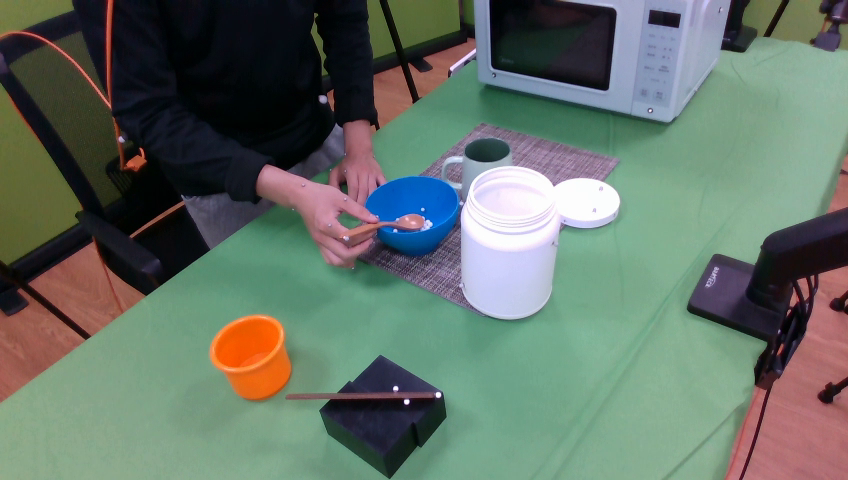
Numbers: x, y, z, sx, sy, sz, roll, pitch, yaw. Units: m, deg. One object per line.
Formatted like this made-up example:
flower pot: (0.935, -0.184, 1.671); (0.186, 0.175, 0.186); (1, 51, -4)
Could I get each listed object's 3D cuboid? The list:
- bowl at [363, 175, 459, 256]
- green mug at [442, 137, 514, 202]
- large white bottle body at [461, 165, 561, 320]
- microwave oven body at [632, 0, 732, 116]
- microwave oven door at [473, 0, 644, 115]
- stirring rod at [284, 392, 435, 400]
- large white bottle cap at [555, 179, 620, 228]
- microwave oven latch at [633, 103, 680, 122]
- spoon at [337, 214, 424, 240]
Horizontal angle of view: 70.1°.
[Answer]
bowl: (-0.017, -0.028, 0.955); (0.151, 0.077, 0.150); (-4, 40, 4)
green mug: (0.091, -0.108, 1.012); (0.125, 0.105, 0.092); (2, 42, 11)
large white bottle body: (0.115, 0.004, 0.816); (0.130, 0.185, 0.130); (-2, 43, 2)
microwave oven body: (0.377, -0.462, 1.267); (0.438, 0.261, 0.327); (21, 48, 30)
microwave oven door: (0.257, -0.396, 1.199); (0.353, 0.245, 0.039); (21, 48, 29)
stirring rod: (-0.075, 0.180, 0.698); (0.176, 0.006, 0.014); (-2, 6, 7)
large white bottle cap: (0.265, -0.062, 1.001); (0.115, 0.018, 0.114); (-3, 41, 3)
microwave oven latch: (0.444, -0.249, 1.158); (0.078, 0.029, 0.030); (21, 49, 30)
spoon: (-0.063, -0.020, 0.898); (0.041, 0.021, 0.195); (29, 21, 27)
